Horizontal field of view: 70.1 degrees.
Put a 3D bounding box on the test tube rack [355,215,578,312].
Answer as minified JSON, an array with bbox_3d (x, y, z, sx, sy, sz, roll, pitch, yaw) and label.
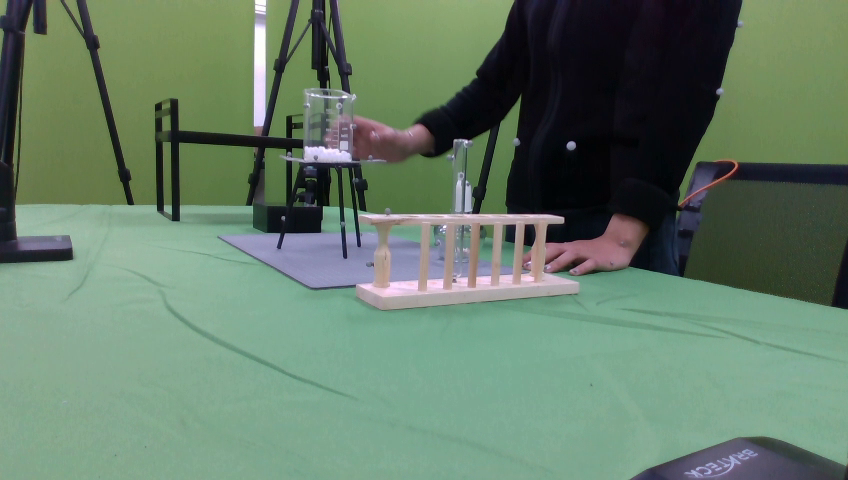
[{"bbox_3d":[0.053,0.019,0.641,0.243,0.085,0.066,-1,8,-29],"label":"test tube rack"}]

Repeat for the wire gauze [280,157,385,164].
[{"bbox_3d":[-0.134,-0.113,0.875,0.122,0.011,0.124,-1,6,-30],"label":"wire gauze"}]

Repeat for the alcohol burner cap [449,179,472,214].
[{"bbox_3d":[0.052,-0.063,0.858,0.034,0.048,0.034,2,13,0],"label":"alcohol burner cap"}]

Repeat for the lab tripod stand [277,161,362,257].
[{"bbox_3d":[-0.142,-0.049,0.884,0.148,0.131,0.148,2,9,0],"label":"lab tripod stand"}]

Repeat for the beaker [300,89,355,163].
[{"bbox_3d":[-0.136,-0.161,0.867,0.083,0.100,0.074,5,7,24],"label":"beaker"}]

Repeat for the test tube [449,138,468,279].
[{"bbox_3d":[0.035,-0.033,0.645,0.017,0.150,0.017,3,4,0],"label":"test tube"}]

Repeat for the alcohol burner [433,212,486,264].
[{"bbox_3d":[0.051,-0.027,0.863,0.078,0.119,0.078,1,6,0],"label":"alcohol burner"}]
